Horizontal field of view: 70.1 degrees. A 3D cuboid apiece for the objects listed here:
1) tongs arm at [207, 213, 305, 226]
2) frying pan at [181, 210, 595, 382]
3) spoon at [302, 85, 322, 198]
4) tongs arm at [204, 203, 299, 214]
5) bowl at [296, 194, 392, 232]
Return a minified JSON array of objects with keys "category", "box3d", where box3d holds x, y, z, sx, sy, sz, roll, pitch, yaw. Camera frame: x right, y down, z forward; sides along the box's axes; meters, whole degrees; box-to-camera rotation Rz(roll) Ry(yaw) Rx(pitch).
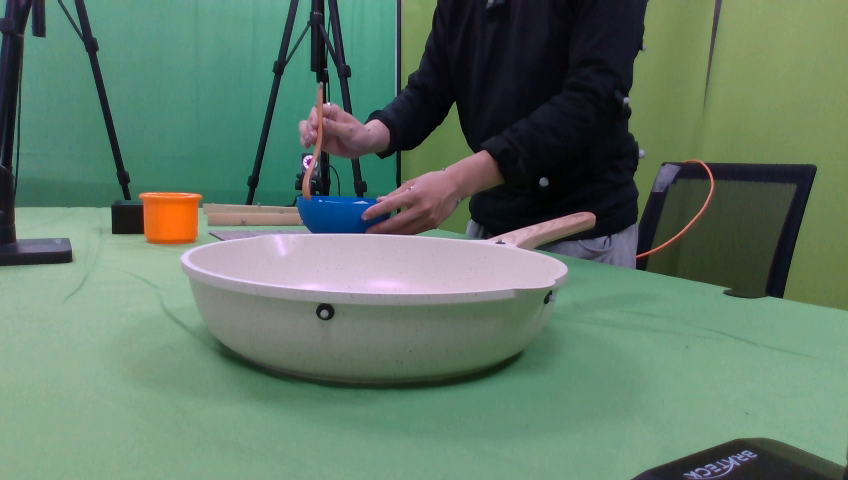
[{"category":"tongs arm","box3d":[-0.264,-0.046,1.297,0.390,0.028,0.028,-2,7,-32]},{"category":"frying pan","box3d":[0.034,0.019,0.557,0.305,0.102,0.490,10,19,42]},{"category":"spoon","box3d":[-0.167,-0.143,0.924,0.022,0.193,0.041,8,-7,-4]},{"category":"tongs arm","box3d":[-0.295,-0.062,1.370,0.386,0.026,0.050,1,9,-19]},{"category":"bowl","box3d":[-0.126,-0.028,0.949,0.151,0.077,0.151,3,7,0]}]
